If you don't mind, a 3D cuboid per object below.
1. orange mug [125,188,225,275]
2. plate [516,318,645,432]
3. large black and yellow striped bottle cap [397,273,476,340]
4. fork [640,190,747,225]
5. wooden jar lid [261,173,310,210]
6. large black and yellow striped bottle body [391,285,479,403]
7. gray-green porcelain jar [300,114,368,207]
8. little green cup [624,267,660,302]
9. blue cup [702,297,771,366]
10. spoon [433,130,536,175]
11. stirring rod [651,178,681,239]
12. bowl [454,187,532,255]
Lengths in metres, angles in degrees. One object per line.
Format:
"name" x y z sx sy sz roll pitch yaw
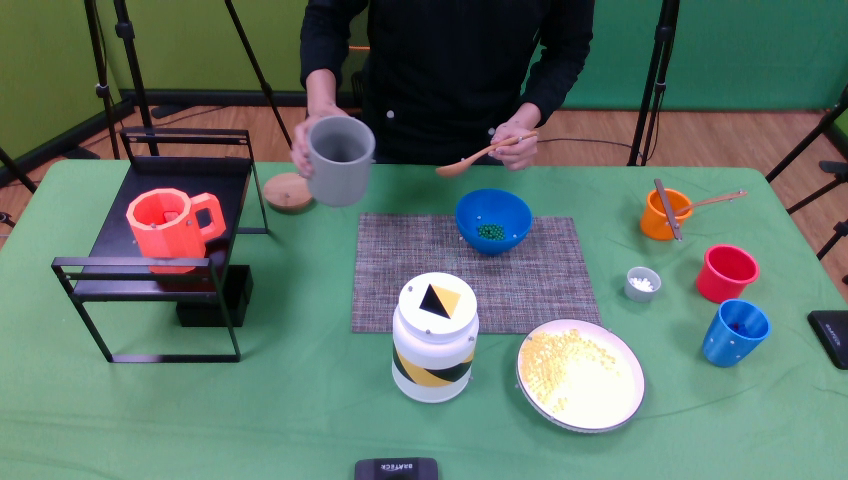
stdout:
"orange mug" -0.357 -0.020 0.884 0.126 0.101 0.083 -29 54 -23
"plate" 0.253 0.221 0.992 0.209 0.038 0.208 2 46 -2
"large black and yellow striped bottle cap" 0.018 0.094 0.878 0.115 0.019 0.114 3 46 -3
"fork" 0.533 -0.065 1.211 0.207 0.019 0.028 -22 28 39
"wooden jar lid" -0.286 -0.101 1.273 0.108 0.021 0.107 3 45 -3
"large black and yellow striped bottle body" 0.015 0.153 0.938 0.131 0.185 0.130 2 46 -2
"gray-green porcelain jar" -0.150 -0.125 0.994 0.106 0.127 0.105 6 55 -9
"little green cup" 0.406 0.084 1.135 0.061 0.039 0.061 3 46 -3
"blue cup" 0.519 0.162 1.025 0.093 0.101 0.092 3 45 -3
"spoon" 0.103 -0.153 1.051 0.193 0.042 0.021 -24 66 21
"stirring rod" 0.479 -0.065 1.204 0.014 0.006 0.175 3 46 -3
"bowl" 0.131 -0.025 1.186 0.151 0.077 0.150 2 46 -2
